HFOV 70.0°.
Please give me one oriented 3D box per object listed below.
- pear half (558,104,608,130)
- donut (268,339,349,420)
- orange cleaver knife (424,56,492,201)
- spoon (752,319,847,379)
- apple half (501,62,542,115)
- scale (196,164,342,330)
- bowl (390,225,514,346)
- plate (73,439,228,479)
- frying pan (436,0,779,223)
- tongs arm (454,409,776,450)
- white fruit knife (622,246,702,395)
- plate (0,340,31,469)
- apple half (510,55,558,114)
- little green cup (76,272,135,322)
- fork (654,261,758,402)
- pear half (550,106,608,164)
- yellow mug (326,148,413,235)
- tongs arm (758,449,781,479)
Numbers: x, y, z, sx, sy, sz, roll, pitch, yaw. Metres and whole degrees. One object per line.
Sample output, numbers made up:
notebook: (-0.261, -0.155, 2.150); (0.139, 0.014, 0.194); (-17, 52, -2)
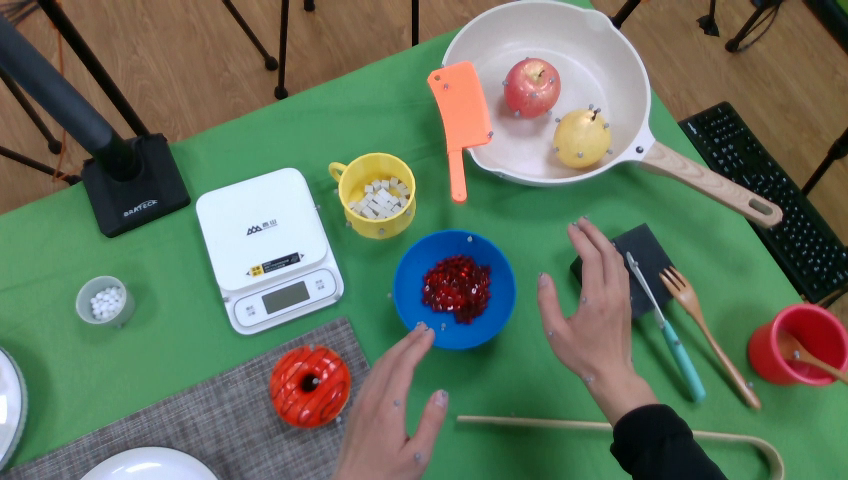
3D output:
pear half: (0.219, -0.169, 0.836); (0.070, 0.088, 0.031); (9, 72, 4)
donut: (-0.140, 0.169, 0.735); (0.099, 0.048, 0.098); (0, 72, 0)
orange cleaver knife: (0.050, -0.153, 0.804); (0.077, 0.012, 0.210); (-7, 72, -3)
spoon: (0.473, 0.146, 0.711); (0.041, 0.022, 0.192); (-30, 30, -12)
apple half: (0.129, -0.204, 0.853); (0.033, 0.082, 0.081); (-33, 74, -16)
scale: (-0.206, 0.005, 0.800); (0.149, 0.032, 0.199); (-21, 73, -8)
bowl: (0.033, 0.064, 0.762); (0.151, 0.077, 0.150); (1, 71, -2)
plate: (-0.308, 0.330, 0.677); (0.209, 0.038, 0.207); (1, 71, -1)
frying pan: (0.244, -0.153, 0.829); (0.485, 0.103, 0.306); (34, 74, 18)
tongs arm: (0.229, 0.226, 0.736); (0.388, 0.028, 0.028); (5, 64, -1)
white fruit knife: (0.295, 0.100, 0.756); (0.016, 0.027, 0.207); (-27, 88, -9)
plate: (-0.569, 0.208, 0.716); (0.208, 0.039, 0.206); (1, 71, -1)
apple half: (0.160, -0.225, 0.862); (0.053, 0.075, 0.080); (-33, 71, -16)
little green cup: (-0.399, 0.075, 0.767); (0.061, 0.039, 0.061); (0, 71, -1)
fork: (0.356, 0.116, 0.761); (0.028, 0.018, 0.207); (-34, 90, -15)
pear half: (0.210, -0.140, 0.815); (0.076, 0.110, 0.055); (10, 71, 6)
yellow mug: (-0.078, -0.071, 0.811); (0.130, 0.064, 0.099); (30, 73, 9)
tongs arm: (0.237, 0.307, 0.707); (0.385, 0.027, 0.050); (-9, 68, -6)
